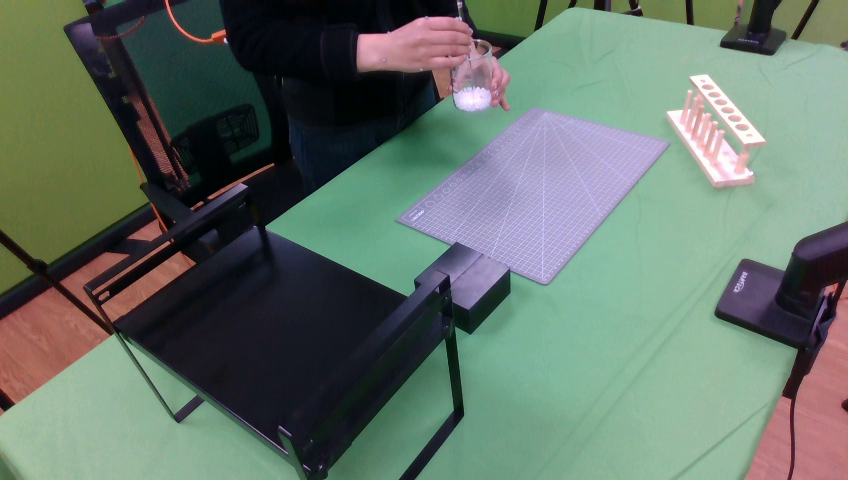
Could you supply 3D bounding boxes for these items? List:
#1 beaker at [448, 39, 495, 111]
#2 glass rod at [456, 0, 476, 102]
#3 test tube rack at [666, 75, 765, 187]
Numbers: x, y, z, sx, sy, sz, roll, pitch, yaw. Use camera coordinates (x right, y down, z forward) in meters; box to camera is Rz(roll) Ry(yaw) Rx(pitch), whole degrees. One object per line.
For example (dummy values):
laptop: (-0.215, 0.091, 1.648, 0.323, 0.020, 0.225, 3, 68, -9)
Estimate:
beaker: (0.079, -0.276, 1.018, 0.083, 0.101, 0.074, 27, 53, 34)
glass rod: (0.066, -0.304, 0.958, 0.008, 0.201, 0.008, -8, 45, 8)
test tube rack: (0.512, -0.202, 1.082, 0.067, 0.085, 0.241, -5, 41, 2)
